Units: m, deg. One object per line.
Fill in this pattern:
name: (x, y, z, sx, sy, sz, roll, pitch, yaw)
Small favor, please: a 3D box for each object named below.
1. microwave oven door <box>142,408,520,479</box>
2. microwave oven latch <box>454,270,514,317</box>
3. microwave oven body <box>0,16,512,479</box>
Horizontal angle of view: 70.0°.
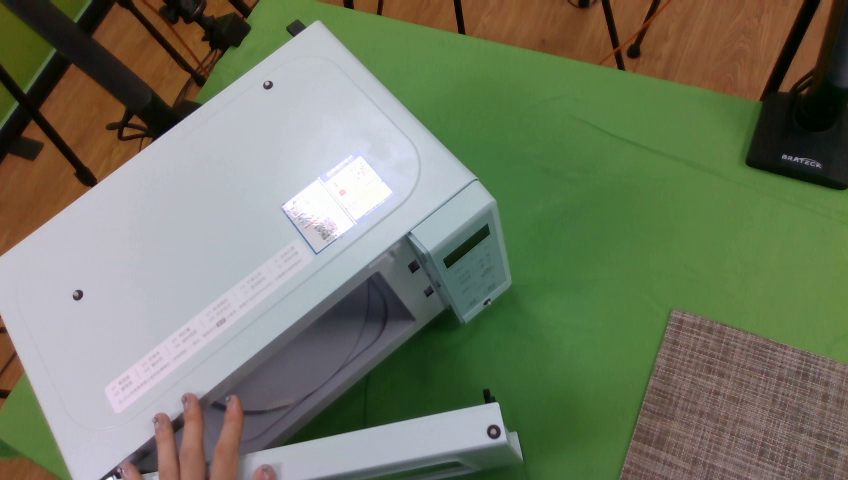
microwave oven door: (-0.090, 0.220, 0.587, 0.356, 0.246, 0.039, -13, 66, 6)
microwave oven latch: (0.072, 0.058, 0.734, 0.079, 0.030, 0.030, -37, 66, -4)
microwave oven body: (-0.173, 0.031, 0.690, 0.441, 0.262, 0.323, -39, 66, -5)
